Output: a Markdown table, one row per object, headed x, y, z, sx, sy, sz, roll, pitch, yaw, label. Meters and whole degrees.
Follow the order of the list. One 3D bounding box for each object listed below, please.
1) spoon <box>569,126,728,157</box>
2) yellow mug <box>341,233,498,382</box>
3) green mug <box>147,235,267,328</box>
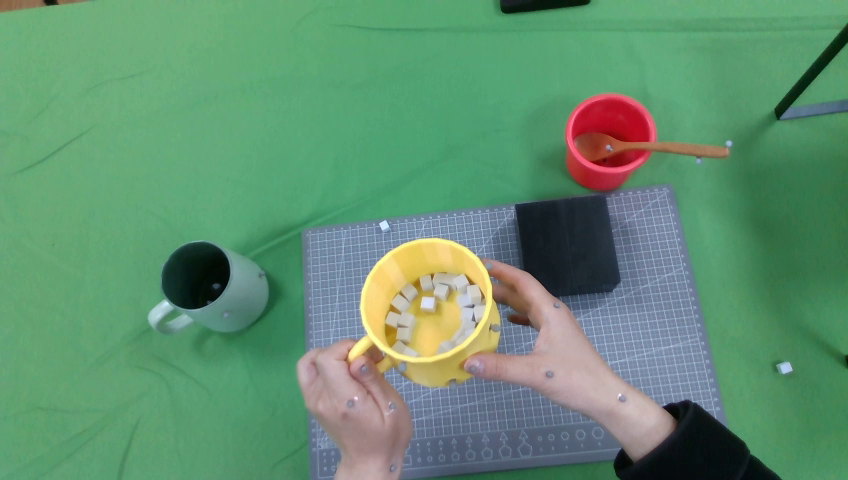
| x | y | z | sx | sy | sz | roll | pitch | yaw | label |
| --- | --- | --- | --- | --- | --- | --- | --- | --- | --- |
| 0.237 | -0.105 | 0.664 | 0.192 | 0.022 | 0.041 | 17 | 74 | 56 | spoon |
| -0.008 | 0.062 | 0.465 | 0.131 | 0.064 | 0.099 | -36 | 61 | -7 | yellow mug |
| -0.249 | 0.056 | 0.682 | 0.125 | 0.105 | 0.092 | -38 | 74 | -6 | green mug |
